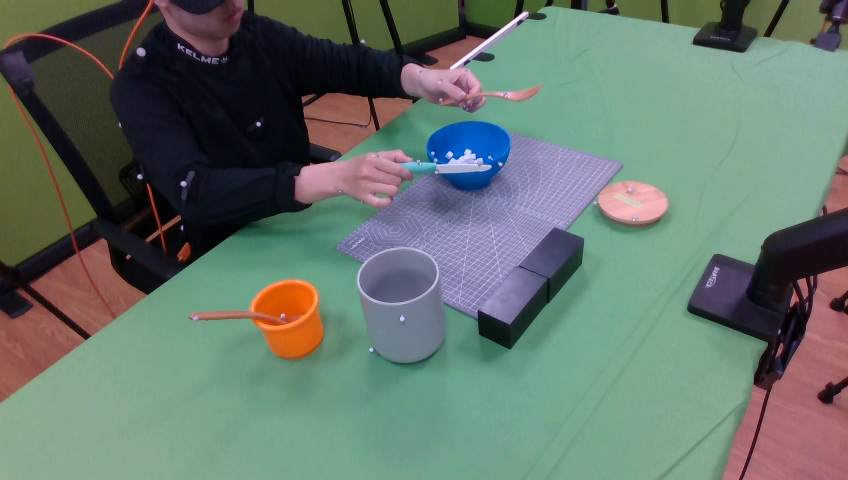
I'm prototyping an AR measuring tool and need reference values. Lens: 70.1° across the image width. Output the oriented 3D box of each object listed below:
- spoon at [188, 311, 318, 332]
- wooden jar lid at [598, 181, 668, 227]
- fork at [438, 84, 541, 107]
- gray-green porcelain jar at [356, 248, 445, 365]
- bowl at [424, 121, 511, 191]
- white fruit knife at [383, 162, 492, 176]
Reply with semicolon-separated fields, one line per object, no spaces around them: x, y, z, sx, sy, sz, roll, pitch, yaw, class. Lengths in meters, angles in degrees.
-0.216;0.102;0.783;0.041;0.195;0.021;25;95;39;spoon
0.340;-0.058;0.988;0.108;0.021;0.108;-5;41;5;wooden jar lid
0.105;-0.240;1.013;0.205;0.019;0.028;5;59;38;fork
-0.027;0.091;0.786;0.106;0.127;0.105;-4;40;4;gray-green porcelain jar
0.080;-0.141;1.074;0.151;0.077;0.150;-4;40;4;bowl
0.015;-0.110;0.925;0.206;0.028;0.016;3;63;36;white fruit knife
